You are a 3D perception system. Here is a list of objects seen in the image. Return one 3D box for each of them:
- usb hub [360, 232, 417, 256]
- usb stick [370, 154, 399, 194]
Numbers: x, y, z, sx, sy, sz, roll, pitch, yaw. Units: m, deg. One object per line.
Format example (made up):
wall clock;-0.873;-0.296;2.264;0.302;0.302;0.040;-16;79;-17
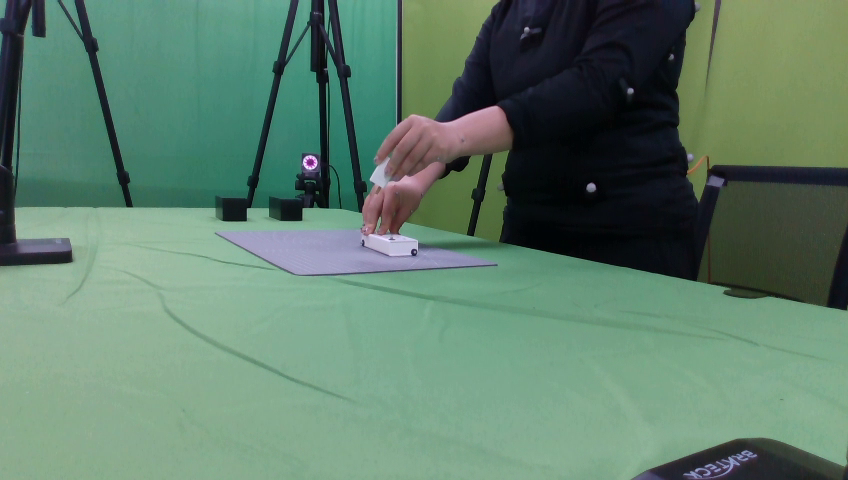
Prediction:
usb hub;-0.059;0.005;0.951;0.050;0.025;0.124;-2;8;-26
usb stick;-0.062;-0.097;0.900;0.027;0.059;0.021;27;6;-8
